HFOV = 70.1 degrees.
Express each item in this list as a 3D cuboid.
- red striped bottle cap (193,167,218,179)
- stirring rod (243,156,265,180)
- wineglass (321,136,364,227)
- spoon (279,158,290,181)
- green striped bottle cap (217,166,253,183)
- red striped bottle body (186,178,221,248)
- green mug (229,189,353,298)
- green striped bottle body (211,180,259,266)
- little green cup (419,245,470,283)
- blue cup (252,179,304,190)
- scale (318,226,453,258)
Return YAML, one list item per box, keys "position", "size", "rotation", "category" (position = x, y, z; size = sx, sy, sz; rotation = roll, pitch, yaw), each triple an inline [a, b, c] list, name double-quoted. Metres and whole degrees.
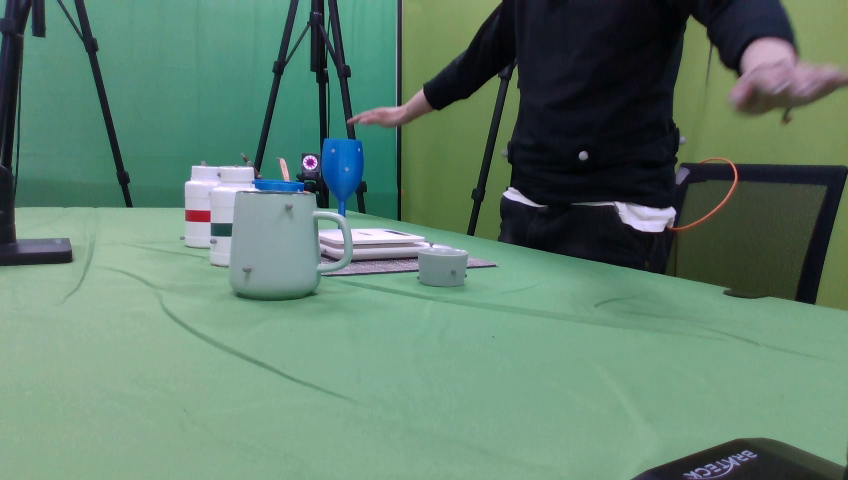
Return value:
- position: [-0.329, -0.103, 0.921]
  size: [0.044, 0.017, 0.044]
  rotation: [0, 9, 0]
  category: "red striped bottle cap"
- position: [-0.304, -0.099, 1.201]
  size: [0.006, 0.177, 0.014]
  rotation: [-27, 37, 8]
  category: "stirring rod"
- position: [-0.138, -0.086, 1.020]
  size: [0.074, 0.172, 0.073]
  rotation: [2, 7, 0]
  category: "wineglass"
- position: [-0.281, -0.103, 1.251]
  size: [0.042, 0.193, 0.021]
  rotation: [7, -40, -30]
  category: "spoon"
- position: [-0.242, -0.085, 0.777]
  size: [0.044, 0.020, 0.044]
  rotation: [2, 9, 0]
  category: "green striped bottle cap"
- position: [-0.331, -0.050, 0.927]
  size: [0.063, 0.119, 0.063]
  rotation: [2, 7, 0]
  category: "red striped bottle body"
- position: [-0.135, 0.002, 0.618]
  size: [0.125, 0.105, 0.092]
  rotation: [2, 7, 4]
  category: "green mug"
- position: [-0.243, -0.029, 0.784]
  size: [0.063, 0.119, 0.063]
  rotation: [2, 7, 0]
  category: "green striped bottle body"
- position: [0.023, 0.028, 0.713]
  size: [0.061, 0.038, 0.061]
  rotation: [1, 6, 0]
  category: "little green cup"
- position: [-0.230, -0.040, 0.929]
  size: [0.093, 0.100, 0.092]
  rotation: [4, 6, 0]
  category: "blue cup"
- position: [-0.067, 0.001, 0.906]
  size: [0.202, 0.031, 0.148]
  rotation: [-2, 8, -31]
  category: "scale"
